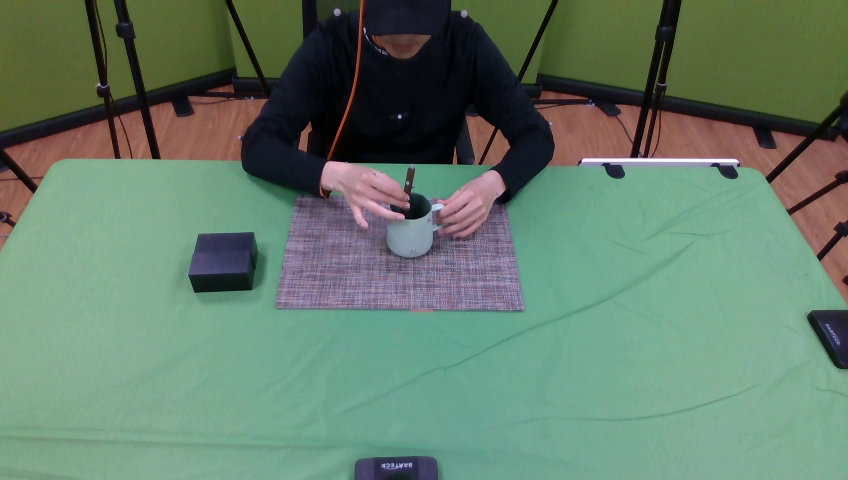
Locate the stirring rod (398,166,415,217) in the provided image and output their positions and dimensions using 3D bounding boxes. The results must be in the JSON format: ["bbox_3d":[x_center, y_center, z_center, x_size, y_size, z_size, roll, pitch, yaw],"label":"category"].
[{"bbox_3d":[-0.036,-0.070,1.128,0.014,0.177,0.006,2,46,-11],"label":"stirring rod"}]

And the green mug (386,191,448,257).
[{"bbox_3d":[-0.012,-0.034,1.165,0.125,0.105,0.092,-17,49,-19],"label":"green mug"}]
